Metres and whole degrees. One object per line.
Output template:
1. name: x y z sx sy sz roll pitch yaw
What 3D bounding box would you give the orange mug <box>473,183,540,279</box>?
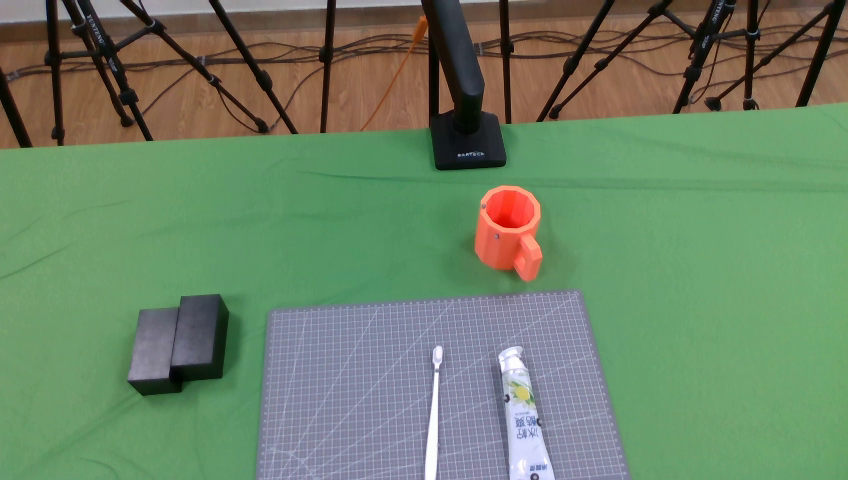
1. orange mug: 0.125 -0.008 0.877 0.083 0.102 0.125 -22 55 -15

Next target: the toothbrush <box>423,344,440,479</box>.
1. toothbrush: 0.011 0.217 0.769 0.014 0.017 0.180 12 57 -11

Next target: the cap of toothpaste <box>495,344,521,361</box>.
1. cap of toothpaste: 0.113 0.151 0.803 0.037 0.037 0.011 -14 55 -11

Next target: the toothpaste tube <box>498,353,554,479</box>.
1. toothpaste tube: 0.120 0.222 0.763 0.055 0.035 0.163 -8 61 2
